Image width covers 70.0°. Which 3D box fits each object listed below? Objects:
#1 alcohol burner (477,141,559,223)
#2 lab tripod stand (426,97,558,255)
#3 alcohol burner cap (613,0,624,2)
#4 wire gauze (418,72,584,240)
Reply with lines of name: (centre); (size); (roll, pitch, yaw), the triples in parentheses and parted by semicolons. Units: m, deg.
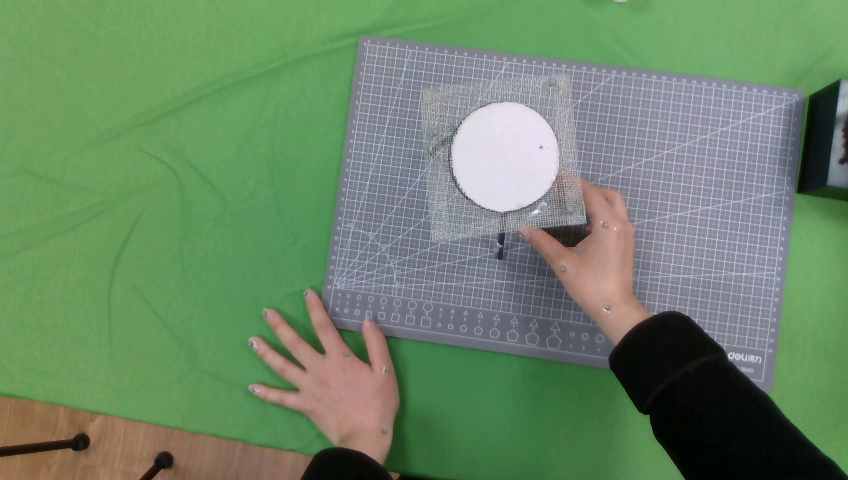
alcohol burner: (0.087, -0.056, 0.552); (0.078, 0.119, 0.077); (0, 85, 3)
lab tripod stand: (0.066, -0.061, 0.543); (0.148, 0.131, 0.148); (0, 88, 1)
alcohol burner cap: (0.198, -0.261, 0.597); (0.034, 0.048, 0.034); (0, 87, 5)
wire gauze: (0.059, -0.067, 0.476); (0.121, 0.011, 0.125); (-5, 89, 1)
